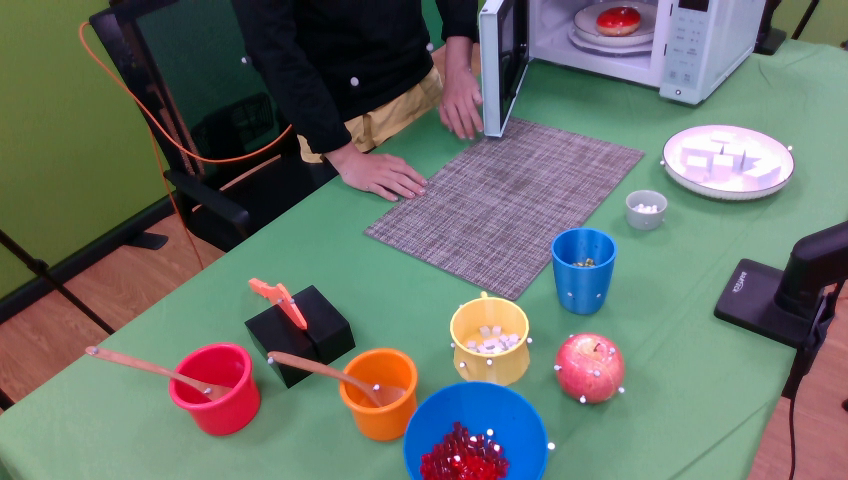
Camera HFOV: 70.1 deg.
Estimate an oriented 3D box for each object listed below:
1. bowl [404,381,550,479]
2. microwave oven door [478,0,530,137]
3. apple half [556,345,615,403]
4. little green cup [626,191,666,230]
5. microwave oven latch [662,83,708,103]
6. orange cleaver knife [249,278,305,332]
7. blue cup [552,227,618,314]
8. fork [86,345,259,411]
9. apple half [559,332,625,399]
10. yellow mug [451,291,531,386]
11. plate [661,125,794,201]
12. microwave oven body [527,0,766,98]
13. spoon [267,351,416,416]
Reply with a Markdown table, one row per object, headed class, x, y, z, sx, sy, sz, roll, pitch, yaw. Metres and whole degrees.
| class | x | y | z | sx | sy | sz | roll | pitch | yaw |
| --- | --- | --- | --- | --- | --- | --- | --- | --- | --- |
| bowl | 0.058 | 0.235 | 0.645 | 0.151 | 0.077 | 0.150 | -4 | 39 | 4 |
| microwave oven door | 0.169 | -0.408 | 1.232 | 0.039 | 0.245 | 0.355 | 6 | 42 | 16 |
| apple half | 0.181 | 0.167 | 0.709 | 0.080 | 0.081 | 0.033 | 29 | 50 | 35 |
| little green cup | 0.352 | -0.046 | 0.963 | 0.061 | 0.039 | 0.061 | -4 | 40 | 4 |
| microwave oven latch | 0.518 | -0.296 | 1.204 | 0.078 | 0.029 | 0.030 | 28 | 52 | 35 |
| orange cleaver knife | -0.210 | 0.089 | 0.855 | 0.012 | 0.077 | 0.210 | -28 | 15 | -25 |
| blue cup | 0.218 | 0.047 | 0.826 | 0.092 | 0.101 | 0.092 | -6 | 40 | 5 |
| fork | -0.298 | 0.167 | 0.728 | 0.209 | 0.018 | 0.028 | 28 | 47 | -23 |
| apple half | 0.209 | 0.147 | 0.730 | 0.080 | 0.075 | 0.053 | 26 | 48 | 38 |
| yellow mug | 0.086 | 0.120 | 0.786 | 0.100 | 0.064 | 0.130 | -7 | 39 | 1 |
| plate | 0.513 | -0.128 | 1.035 | 0.207 | 0.039 | 0.206 | -4 | 40 | 4 |
| microwave oven body | 0.472 | -0.513 | 1.317 | 0.438 | 0.261 | 0.327 | 26 | 51 | 34 |
| spoon | -0.091 | 0.162 | 0.699 | 0.021 | 0.195 | 0.041 | -44 | 30 | 27 |
